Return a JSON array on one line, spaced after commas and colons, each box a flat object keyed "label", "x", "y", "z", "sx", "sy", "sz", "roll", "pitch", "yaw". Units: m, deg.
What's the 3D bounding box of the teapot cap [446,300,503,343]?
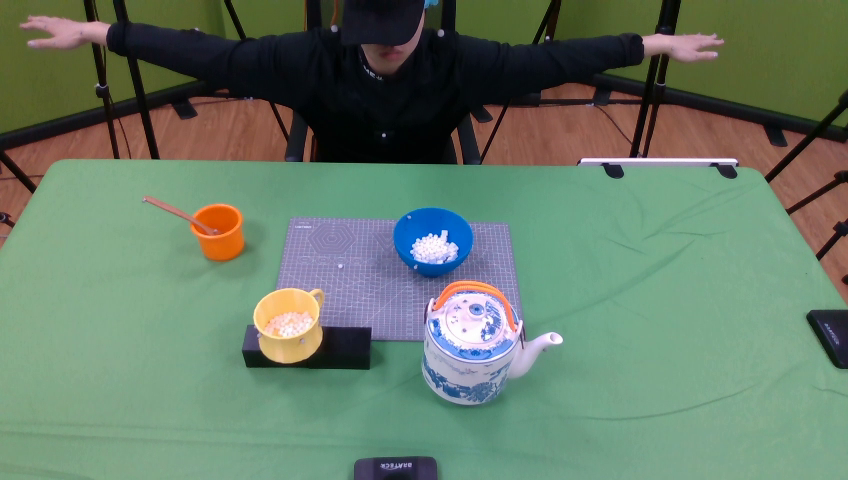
[{"label": "teapot cap", "x": 0.076, "y": 0.115, "z": 0.898, "sx": 0.085, "sy": 0.044, "sz": 0.084, "roll": 4, "pitch": 46, "yaw": -4}]

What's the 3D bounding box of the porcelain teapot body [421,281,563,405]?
[{"label": "porcelain teapot body", "x": 0.101, "y": 0.148, "z": 0.923, "sx": 0.205, "sy": 0.226, "sz": 0.144, "roll": 12, "pitch": 46, "yaw": 7}]

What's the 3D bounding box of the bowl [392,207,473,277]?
[{"label": "bowl", "x": 0.014, "y": 0.016, "z": 1.140, "sx": 0.151, "sy": 0.077, "sz": 0.150, "roll": 2, "pitch": 46, "yaw": -2}]

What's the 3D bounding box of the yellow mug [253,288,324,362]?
[{"label": "yellow mug", "x": -0.205, "y": 0.124, "z": 0.963, "sx": 0.099, "sy": 0.064, "sz": 0.130, "roll": 27, "pitch": 49, "yaw": 21}]

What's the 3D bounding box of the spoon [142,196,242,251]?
[{"label": "spoon", "x": -0.421, "y": -0.032, "z": 1.108, "sx": 0.021, "sy": 0.195, "sz": 0.041, "roll": -32, "pitch": 40, "yaw": 28}]
